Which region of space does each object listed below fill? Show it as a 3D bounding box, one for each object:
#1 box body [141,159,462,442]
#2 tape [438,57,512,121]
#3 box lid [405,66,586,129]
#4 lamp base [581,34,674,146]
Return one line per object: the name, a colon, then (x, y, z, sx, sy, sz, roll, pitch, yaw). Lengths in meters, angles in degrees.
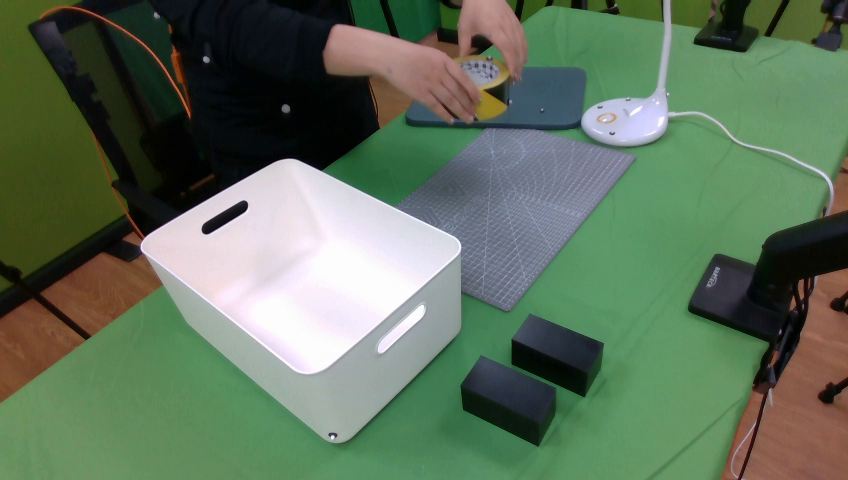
box body: (-0.153, 0.063, 0.809, 0.361, 0.161, 0.255, 27, 51, 33)
tape: (0.080, -0.236, 0.939, 0.117, 0.053, 0.116, -2, 43, 2)
box lid: (0.163, -0.317, 1.322, 0.370, 0.015, 0.263, 5, 42, 14)
lamp base: (0.392, -0.291, 1.129, 0.180, 0.181, 0.159, -11, 41, -8)
